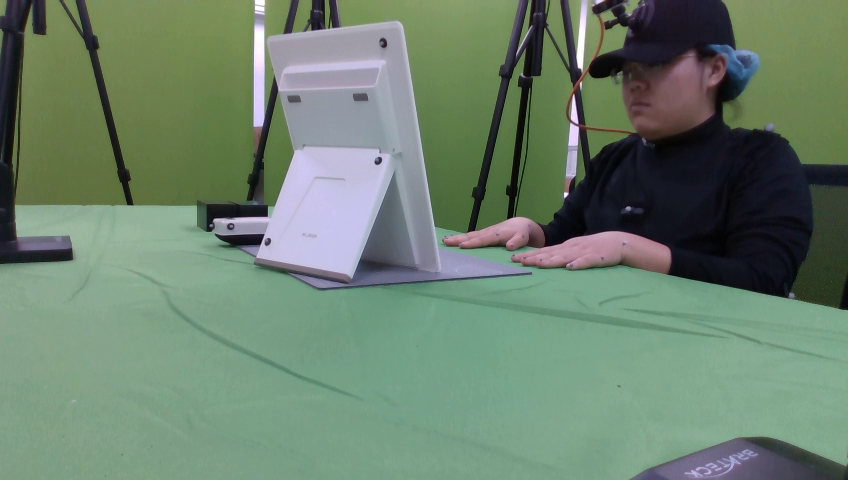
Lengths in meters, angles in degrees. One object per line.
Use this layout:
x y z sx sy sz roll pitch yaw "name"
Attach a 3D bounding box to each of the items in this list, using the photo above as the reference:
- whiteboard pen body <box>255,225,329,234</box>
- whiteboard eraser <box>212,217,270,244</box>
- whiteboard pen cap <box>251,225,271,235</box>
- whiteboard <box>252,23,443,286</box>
-0.239 -0.019 1.105 0.141 0.017 0.017 -2 9 -34 "whiteboard pen body"
-0.266 -0.016 0.942 0.113 0.042 0.055 -2 10 -35 "whiteboard eraser"
-0.288 -0.019 1.072 0.033 0.018 0.018 -3 9 -34 "whiteboard pen cap"
-0.125 -0.081 0.715 0.216 0.305 0.144 8 29 36 "whiteboard"
